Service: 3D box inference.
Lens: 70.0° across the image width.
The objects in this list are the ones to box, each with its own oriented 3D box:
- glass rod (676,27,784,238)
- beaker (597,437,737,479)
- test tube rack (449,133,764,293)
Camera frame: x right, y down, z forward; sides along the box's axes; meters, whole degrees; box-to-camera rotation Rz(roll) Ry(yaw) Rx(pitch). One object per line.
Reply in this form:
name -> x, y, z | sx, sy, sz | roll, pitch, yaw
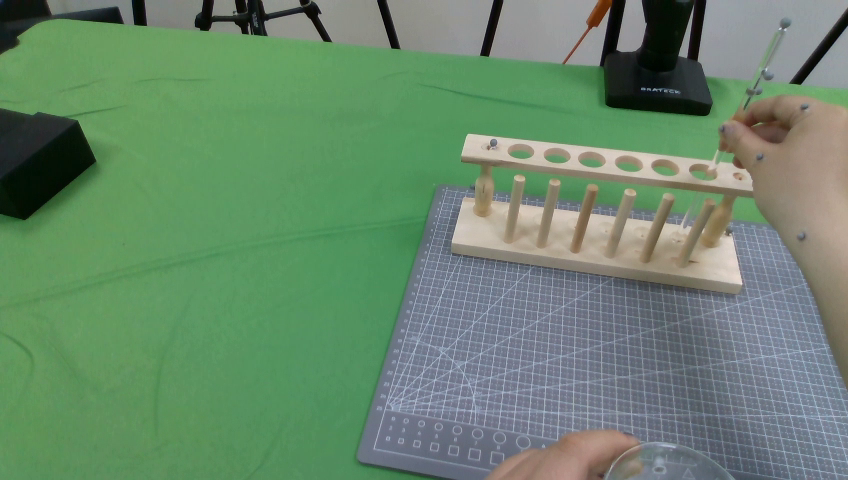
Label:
glass rod -> 0.228, -0.069, 0.463 | 0.008, 0.201, 0.008 | 1, 48, 0
beaker -> 0.108, 0.159, 0.306 | 0.084, 0.101, 0.073 | -1, 44, -8
test tube rack -> 0.147, -0.024, 0.516 | 0.242, 0.086, 0.066 | 8, 45, 8
